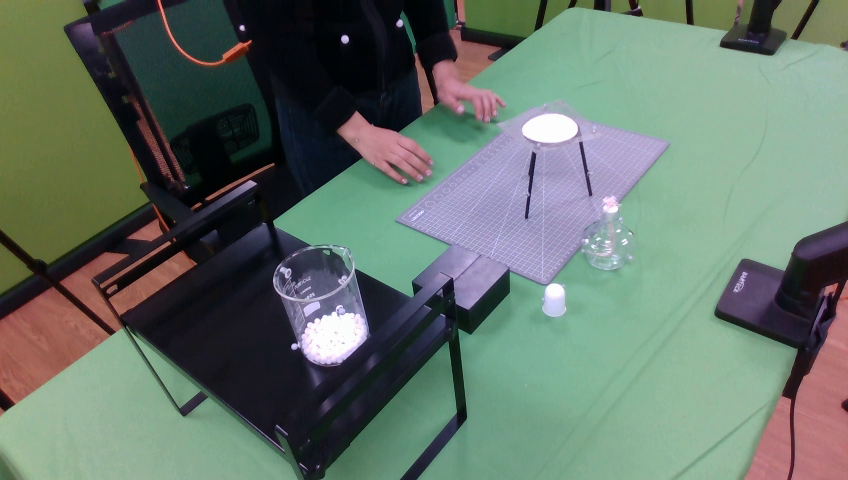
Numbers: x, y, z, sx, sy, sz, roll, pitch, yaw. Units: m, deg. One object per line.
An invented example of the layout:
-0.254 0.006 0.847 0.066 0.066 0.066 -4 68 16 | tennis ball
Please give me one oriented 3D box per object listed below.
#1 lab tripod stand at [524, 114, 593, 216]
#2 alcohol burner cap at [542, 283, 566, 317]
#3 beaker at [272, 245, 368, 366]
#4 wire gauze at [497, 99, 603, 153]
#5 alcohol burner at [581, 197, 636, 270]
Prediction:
0.210 -0.127 1.001 0.148 0.132 0.147 -4 43 4 | lab tripod stand
0.181 0.080 0.840 0.034 0.048 0.033 -3 40 3 | alcohol burner cap
-0.093 0.064 0.578 0.073 0.101 0.084 21 48 29 | beaker
0.199 -0.181 0.962 0.125 0.011 0.120 -20 43 -13 | wire gauze
0.270 -0.015 0.882 0.078 0.119 0.077 -5 42 5 | alcohol burner
